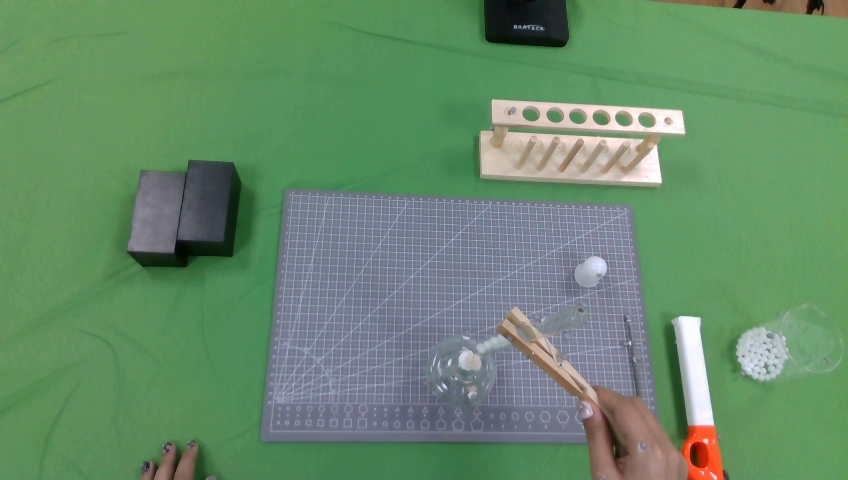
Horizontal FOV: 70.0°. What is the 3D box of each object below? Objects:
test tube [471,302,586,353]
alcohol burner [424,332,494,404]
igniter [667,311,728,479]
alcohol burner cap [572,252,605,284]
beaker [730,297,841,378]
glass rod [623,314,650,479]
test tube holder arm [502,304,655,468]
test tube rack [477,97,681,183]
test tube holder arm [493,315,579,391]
[{"bbox_3d":[0.080,0.075,0.504,0.017,0.150,0.017,10,67,-24],"label":"test tube"},{"bbox_3d":[0.039,0.133,0.647,0.078,0.120,0.077,2,67,-5],"label":"alcohol burner"},{"bbox_3d":[0.314,0.218,0.697,0.057,0.025,0.274,6,70,-15],"label":"igniter"},{"bbox_3d":[0.204,0.032,0.741,0.034,0.048,0.033,2,70,-6],"label":"alcohol burner cap"},{"bbox_3d":[0.416,0.117,0.707,0.074,0.101,0.083,15,68,-1],"label":"beaker"},{"bbox_3d":[0.248,0.184,0.709,0.008,0.008,0.198,2,70,-6],"label":"glass rod"},{"bbox_3d":[0.130,0.123,0.507,0.178,0.015,0.013,47,61,0],"label":"test tube holder arm"},{"bbox_3d":[0.195,-0.126,0.777,0.243,0.085,0.066,2,70,-6],"label":"test tube rack"},{"bbox_3d":[0.094,0.095,0.503,0.088,0.015,0.010,40,61,-4],"label":"test tube holder arm"}]
